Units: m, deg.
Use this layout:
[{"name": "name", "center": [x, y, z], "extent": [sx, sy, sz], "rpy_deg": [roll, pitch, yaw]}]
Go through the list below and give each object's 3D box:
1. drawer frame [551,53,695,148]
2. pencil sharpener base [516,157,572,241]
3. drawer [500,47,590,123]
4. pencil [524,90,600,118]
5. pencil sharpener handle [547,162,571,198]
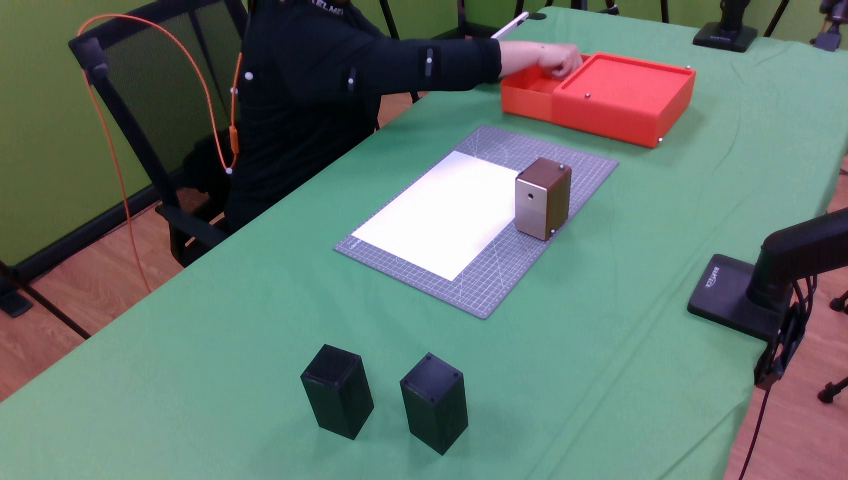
[{"name": "drawer frame", "center": [0.391, -0.281, 1.196], "extent": [0.212, 0.083, 0.202], "rpy_deg": [22, 48, 29]}, {"name": "pencil sharpener base", "center": [0.189, -0.065, 0.948], "extent": [0.061, 0.107, 0.077], "rpy_deg": [24, 49, 33]}, {"name": "drawer", "center": [0.296, -0.316, 1.256], "extent": [0.210, 0.073, 0.195], "rpy_deg": [22, 47, 29]}, {"name": "pencil", "center": [0.295, -0.291, 1.281], "extent": [0.195, 0.012, 0.012], "rpy_deg": [-21, 42, -17]}, {"name": "pencil sharpener handle", "center": [0.222, -0.101, 0.967], "extent": [0.035, 0.068, 0.031], "rpy_deg": [18, 46, 38]}]
